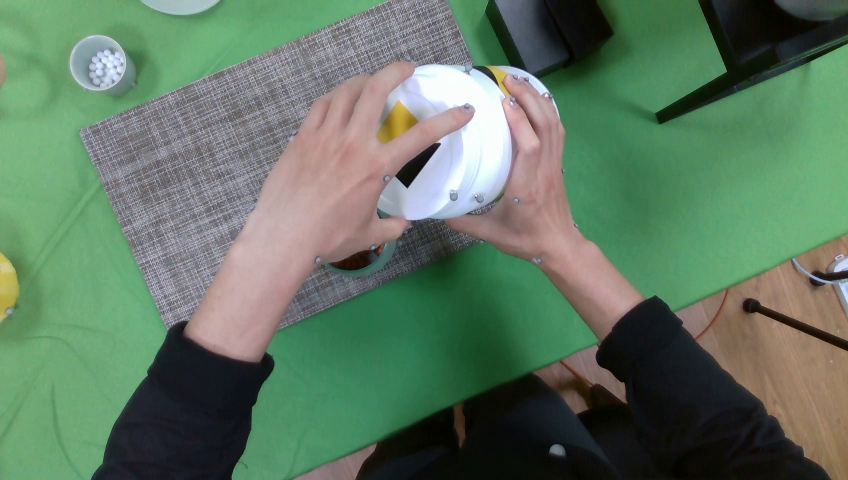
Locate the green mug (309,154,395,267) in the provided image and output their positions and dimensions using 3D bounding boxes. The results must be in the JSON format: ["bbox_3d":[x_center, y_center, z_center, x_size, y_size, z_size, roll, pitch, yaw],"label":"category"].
[{"bbox_3d":[-0.081,-0.031,0.658,0.092,0.105,0.125,-7,90,-2],"label":"green mug"}]

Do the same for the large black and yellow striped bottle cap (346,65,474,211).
[{"bbox_3d":[-0.014,-0.080,0.484,0.114,0.019,0.115,9,108,30],"label":"large black and yellow striped bottle cap"}]

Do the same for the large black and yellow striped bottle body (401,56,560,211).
[{"bbox_3d":[0.032,-0.099,0.551,0.130,0.184,0.131,10,110,31],"label":"large black and yellow striped bottle body"}]

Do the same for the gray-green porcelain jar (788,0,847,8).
[{"bbox_3d":[0.352,-0.259,0.494,0.106,0.126,0.106,0,89,-2],"label":"gray-green porcelain jar"}]

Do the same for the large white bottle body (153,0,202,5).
[{"bbox_3d":[-0.281,-0.332,0.608,0.131,0.184,0.130,0,90,-2],"label":"large white bottle body"}]

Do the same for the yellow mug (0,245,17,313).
[{"bbox_3d":[-0.516,0.060,0.659,0.100,0.064,0.131,9,91,-4],"label":"yellow mug"}]

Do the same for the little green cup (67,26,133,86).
[{"bbox_3d":[-0.360,-0.203,0.679,0.061,0.038,0.061,0,91,-4],"label":"little green cup"}]
